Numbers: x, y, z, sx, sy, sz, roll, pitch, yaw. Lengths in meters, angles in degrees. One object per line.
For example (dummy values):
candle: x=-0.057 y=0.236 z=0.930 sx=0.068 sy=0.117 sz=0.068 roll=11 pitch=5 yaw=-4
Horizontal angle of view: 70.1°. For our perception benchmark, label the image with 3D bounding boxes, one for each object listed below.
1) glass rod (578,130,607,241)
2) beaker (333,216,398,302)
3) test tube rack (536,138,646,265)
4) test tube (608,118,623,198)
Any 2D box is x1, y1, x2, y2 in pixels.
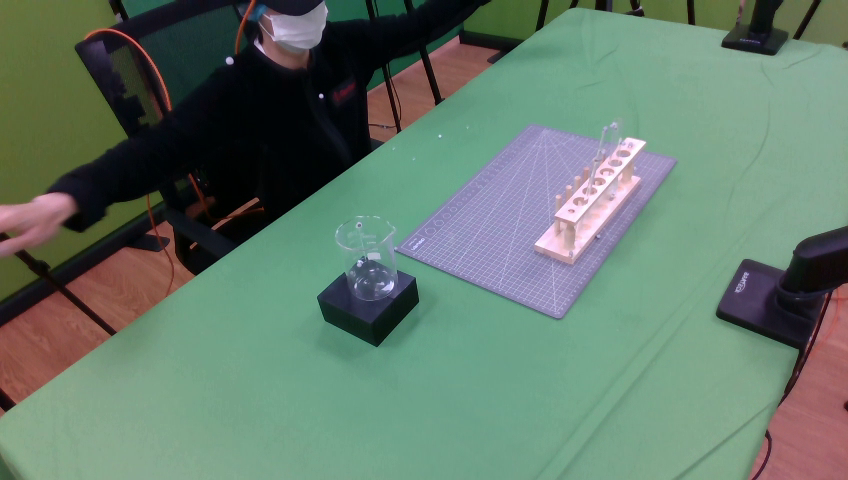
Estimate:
glass rod: x=0.241 y=-0.072 z=0.866 sx=0.008 sy=0.200 sz=0.008 roll=0 pitch=44 yaw=1
beaker: x=-0.072 y=0.027 z=0.816 sx=0.084 sy=0.100 sz=0.073 roll=-11 pitch=40 yaw=-5
test tube rack: x=0.268 y=-0.071 z=0.964 sx=0.066 sy=0.085 sz=0.243 roll=23 pitch=49 yaw=32
test tube: x=0.299 y=-0.124 z=0.945 sx=0.017 sy=0.151 sz=0.017 roll=-7 pitch=44 yaw=7
